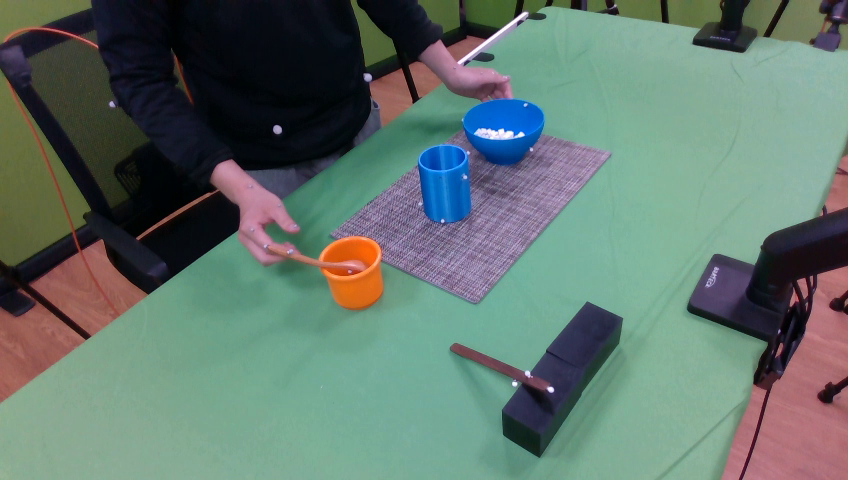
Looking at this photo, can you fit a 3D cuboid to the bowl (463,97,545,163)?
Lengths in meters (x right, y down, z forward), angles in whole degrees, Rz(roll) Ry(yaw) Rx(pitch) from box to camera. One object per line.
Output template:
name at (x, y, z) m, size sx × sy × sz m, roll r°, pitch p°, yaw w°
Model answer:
bowl at (0.149, -0.195, 1.123) m, size 0.151 × 0.077 × 0.150 m, roll -4°, pitch 41°, yaw 4°

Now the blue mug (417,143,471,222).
blue mug at (0.031, -0.104, 1.014) m, size 0.082 × 0.106 × 0.115 m, roll -14°, pitch 41°, yaw -7°

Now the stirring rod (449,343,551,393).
stirring rod at (0.088, 0.154, 0.741) m, size 0.014 × 0.006 × 0.174 m, roll -40°, pitch 28°, yaw -25°

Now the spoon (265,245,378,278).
spoon at (-0.137, 0.031, 0.846) m, size 0.195 × 0.021 × 0.041 m, roll 13°, pitch 15°, yaw -45°
